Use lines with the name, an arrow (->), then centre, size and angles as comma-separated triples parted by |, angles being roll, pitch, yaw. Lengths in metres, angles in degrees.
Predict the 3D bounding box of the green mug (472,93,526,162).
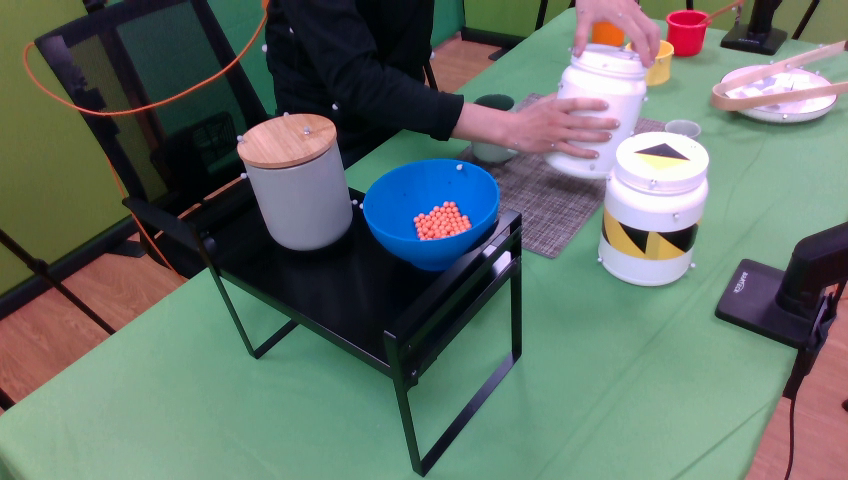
green mug -> 0.144, -0.202, 1.122 | 0.093, 0.105, 0.124 | -29, 45, -23

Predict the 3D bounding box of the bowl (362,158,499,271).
bowl -> 0.011, -0.019, 0.679 | 0.151, 0.077, 0.150 | -5, 41, 4

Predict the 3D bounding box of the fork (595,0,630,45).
fork -> 0.480, -0.556, 1.452 | 0.028, 0.019, 0.207 | 40, 103, 38

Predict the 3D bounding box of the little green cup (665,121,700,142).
little green cup -> 0.473, -0.189, 1.113 | 0.061, 0.039, 0.061 | -5, 40, 4

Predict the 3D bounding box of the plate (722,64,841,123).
plate -> 0.695, -0.283, 1.189 | 0.207, 0.039, 0.206 | -4, 40, 4

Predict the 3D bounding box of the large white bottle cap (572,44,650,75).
large white bottle cap -> 0.285, -0.276, 0.924 | 0.115, 0.018, 0.114 | 6, 31, -3

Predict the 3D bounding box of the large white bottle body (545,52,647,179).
large white bottle body -> 0.276, -0.204, 0.967 | 0.131, 0.185, 0.130 | 6, 30, -3

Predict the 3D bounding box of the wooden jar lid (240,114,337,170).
wooden jar lid -> -0.149, -0.106, 0.673 | 0.108, 0.021, 0.108 | -6, 38, 5

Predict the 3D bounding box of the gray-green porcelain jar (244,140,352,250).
gray-green porcelain jar -> -0.144, -0.060, 0.714 | 0.106, 0.127, 0.105 | -4, 41, 4

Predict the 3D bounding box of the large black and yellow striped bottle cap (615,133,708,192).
large black and yellow striped bottle cap -> 0.312, -0.105, 0.798 | 0.115, 0.019, 0.114 | -5, 41, 5

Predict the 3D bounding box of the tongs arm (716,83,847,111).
tongs arm -> 0.738, -0.281, 1.134 | 0.388, 0.028, 0.028 | -9, 47, -5

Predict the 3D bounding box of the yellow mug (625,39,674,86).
yellow mug -> 0.485, -0.398, 1.334 | 0.100, 0.064, 0.130 | -18, 40, -11

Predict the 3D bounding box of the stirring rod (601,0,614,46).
stirring rod -> 0.440, -0.552, 1.463 | 0.014, 0.006, 0.175 | -7, 83, 2

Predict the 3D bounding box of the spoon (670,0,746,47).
spoon -> 0.629, -0.485, 1.350 | 0.022, 0.193, 0.042 | 47, 54, -7

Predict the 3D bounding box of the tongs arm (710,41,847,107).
tongs arm -> 0.712, -0.332, 1.194 | 0.386, 0.026, 0.050 | -19, 45, -16

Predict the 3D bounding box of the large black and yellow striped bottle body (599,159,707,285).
large black and yellow striped bottle body -> 0.320, -0.042, 0.854 | 0.131, 0.185, 0.130 | -4, 41, 4
